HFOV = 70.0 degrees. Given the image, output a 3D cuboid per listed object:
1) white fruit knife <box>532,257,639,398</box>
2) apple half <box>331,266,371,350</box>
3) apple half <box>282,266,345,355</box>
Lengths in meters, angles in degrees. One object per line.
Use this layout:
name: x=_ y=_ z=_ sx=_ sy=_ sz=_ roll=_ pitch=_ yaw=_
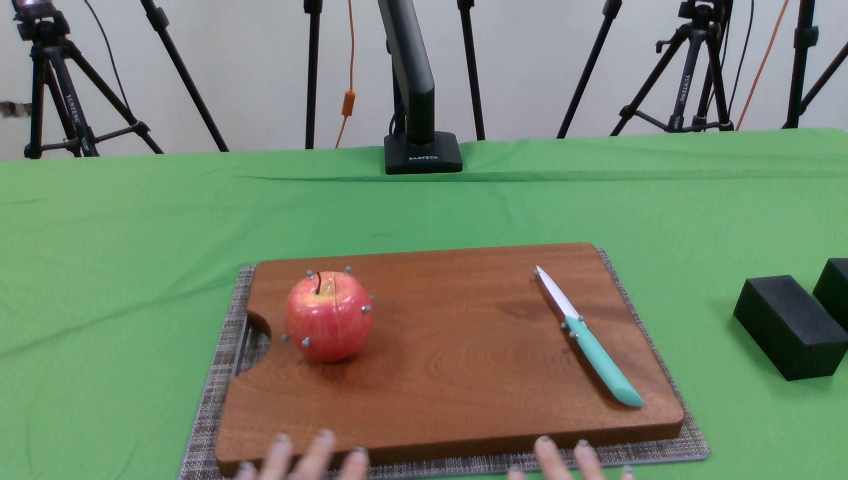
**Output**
white fruit knife: x=0.151 y=0.077 z=0.606 sx=0.027 sy=0.016 sz=0.205 roll=18 pitch=26 yaw=-27
apple half: x=-0.066 y=0.063 z=0.574 sx=0.033 sy=0.082 sz=0.080 roll=-10 pitch=37 yaw=-6
apple half: x=-0.105 y=0.069 z=0.569 sx=0.053 sy=0.075 sz=0.080 roll=-10 pitch=41 yaw=-6
